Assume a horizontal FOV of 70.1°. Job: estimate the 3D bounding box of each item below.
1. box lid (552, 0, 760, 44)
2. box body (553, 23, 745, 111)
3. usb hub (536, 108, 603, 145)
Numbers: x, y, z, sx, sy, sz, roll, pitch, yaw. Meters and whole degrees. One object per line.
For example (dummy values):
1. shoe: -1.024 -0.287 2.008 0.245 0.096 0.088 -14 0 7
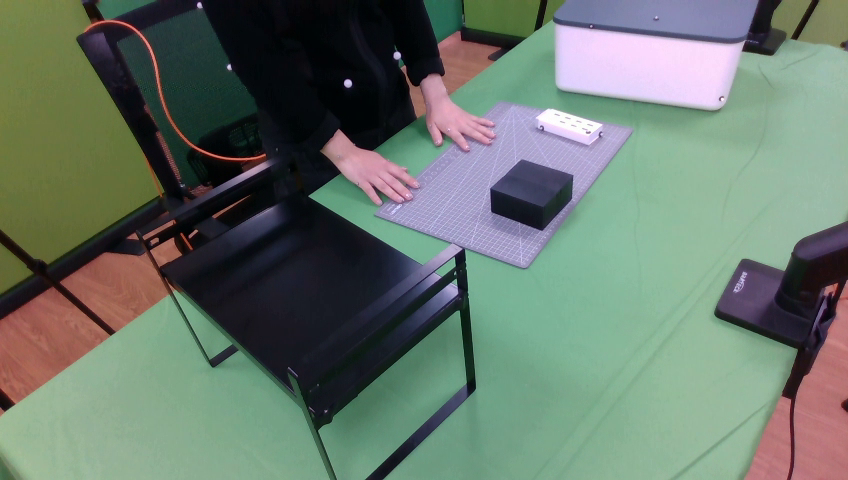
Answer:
1. box lid: 0.471 -0.473 1.234 0.369 0.015 0.263 16 45 24
2. box body: 0.480 -0.417 1.282 0.362 0.161 0.254 15 46 24
3. usb hub: 0.284 -0.225 1.188 0.124 0.025 0.049 28 52 35
